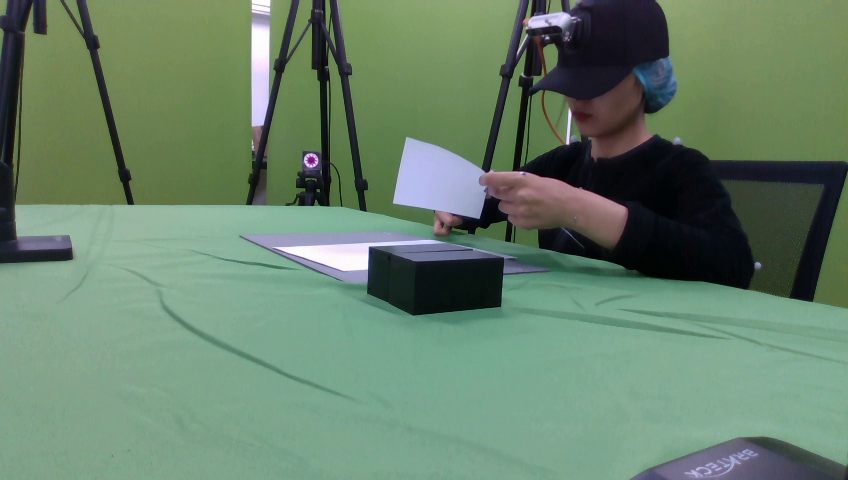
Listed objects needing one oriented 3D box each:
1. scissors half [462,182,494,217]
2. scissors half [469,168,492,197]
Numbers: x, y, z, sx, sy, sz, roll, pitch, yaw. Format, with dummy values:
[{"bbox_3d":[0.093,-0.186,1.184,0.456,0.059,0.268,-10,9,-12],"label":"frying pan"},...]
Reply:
[{"bbox_3d":[0.093,-0.072,1.036,0.013,0.040,0.175,14,-15,-8],"label":"scissors half"},{"bbox_3d":[0.098,-0.094,1.036,0.013,0.040,0.175,9,16,-8],"label":"scissors half"}]
